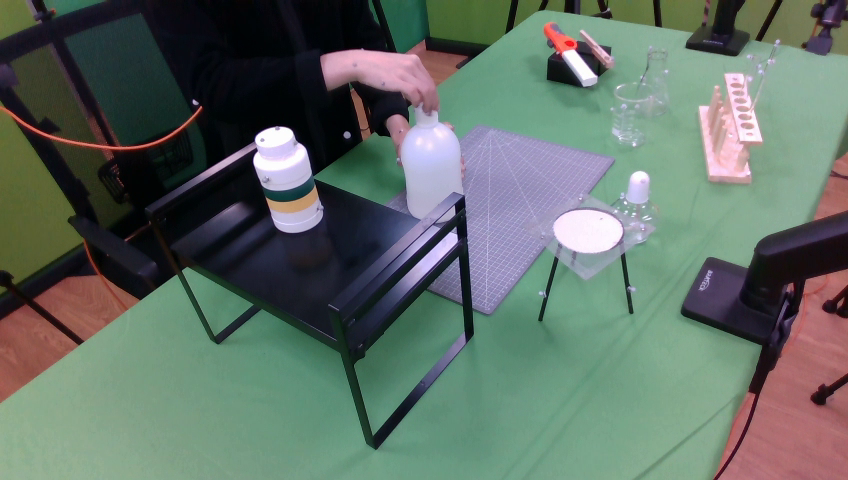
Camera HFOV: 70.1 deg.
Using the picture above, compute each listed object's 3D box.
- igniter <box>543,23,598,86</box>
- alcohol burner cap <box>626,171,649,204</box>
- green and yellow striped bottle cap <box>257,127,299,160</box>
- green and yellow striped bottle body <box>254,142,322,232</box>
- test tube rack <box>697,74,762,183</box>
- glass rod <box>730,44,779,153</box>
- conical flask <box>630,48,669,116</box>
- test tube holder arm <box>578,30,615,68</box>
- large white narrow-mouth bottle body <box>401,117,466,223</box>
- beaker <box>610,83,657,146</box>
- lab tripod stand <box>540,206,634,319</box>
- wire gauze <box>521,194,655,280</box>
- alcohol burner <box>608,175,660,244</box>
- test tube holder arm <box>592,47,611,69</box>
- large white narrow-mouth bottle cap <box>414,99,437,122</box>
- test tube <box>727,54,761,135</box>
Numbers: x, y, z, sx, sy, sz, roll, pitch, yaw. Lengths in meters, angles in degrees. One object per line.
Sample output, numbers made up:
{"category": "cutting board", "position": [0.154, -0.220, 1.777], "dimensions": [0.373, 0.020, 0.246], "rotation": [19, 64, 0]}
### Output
{"category": "igniter", "position": [0.320, -0.419, 1.345], "dimensions": [0.057, 0.025, 0.274], "rotation": [-12, 44, -3]}
{"category": "alcohol burner cap", "position": [0.320, -0.081, 0.900], "dimensions": [0.034, 0.048, 0.033], "rotation": [-4, 42, 4]}
{"category": "green and yellow striped bottle cap", "position": [-0.169, -0.112, 0.698], "dimensions": [0.045, 0.020, 0.045], "rotation": [-5, 40, 5]}
{"category": "green and yellow striped bottle body", "position": [-0.165, -0.073, 0.732], "dimensions": [0.063, 0.120, 0.063], "rotation": [-4, 41, 4]}
{"category": "test tube rack", "position": [0.547, -0.208, 1.095], "dimensions": [0.066, 0.085, 0.242], "rotation": [5, 42, 15]}
{"category": "glass rod", "position": [0.555, -0.234, 1.021], "dimensions": [0.008, 0.200, 0.008], "rotation": [2, 40, -1]}
{"category": "conical flask", "position": [0.457, -0.317, 1.205], "dimensions": [0.075, 0.122, 0.075], "rotation": [-4, 41, 4]}
{"category": "test tube holder arm", "position": [0.383, -0.428, 1.351], "dimensions": [0.013, 0.015, 0.177], "rotation": [-11, 41, -3]}
{"category": "large white narrow-mouth bottle body", "position": [0.013, -0.129, 0.991], "dimensions": [0.102, 0.195, 0.101], "rotation": [-5, 39, 5]}
{"category": "beaker", "position": [0.388, -0.235, 1.138], "dimensions": [0.074, 0.101, 0.083], "rotation": [-31, 45, -25]}
{"category": "lab tripod stand", "position": [0.218, 0.034, 0.821], "dimensions": [0.148, 0.132, 0.147], "rotation": [-4, 42, 4]}
{"category": "wire gauze", "position": [0.207, -0.012, 0.772], "dimensions": [0.122, 0.011, 0.124], "rotation": [-28, 44, -20]}
{"category": "alcohol burner", "position": [0.322, -0.053, 0.924], "dimensions": [0.078, 0.119, 0.077], "rotation": [-4, 43, 4]}
{"category": "test tube holder arm", "position": [0.385, -0.398, 1.317], "dimensions": [0.010, 0.015, 0.087], "rotation": [-11, 41, -2]}
{"category": "large white narrow-mouth bottle cap", "position": [0.002, -0.200, 0.935], "dimensions": [0.038, 0.024, 0.037], "rotation": [-5, 39, 4]}
{"category": "test tube", "position": [0.564, -0.254, 1.069], "dimensions": [0.017, 0.151, 0.017], "rotation": [-1, 40, 1]}
